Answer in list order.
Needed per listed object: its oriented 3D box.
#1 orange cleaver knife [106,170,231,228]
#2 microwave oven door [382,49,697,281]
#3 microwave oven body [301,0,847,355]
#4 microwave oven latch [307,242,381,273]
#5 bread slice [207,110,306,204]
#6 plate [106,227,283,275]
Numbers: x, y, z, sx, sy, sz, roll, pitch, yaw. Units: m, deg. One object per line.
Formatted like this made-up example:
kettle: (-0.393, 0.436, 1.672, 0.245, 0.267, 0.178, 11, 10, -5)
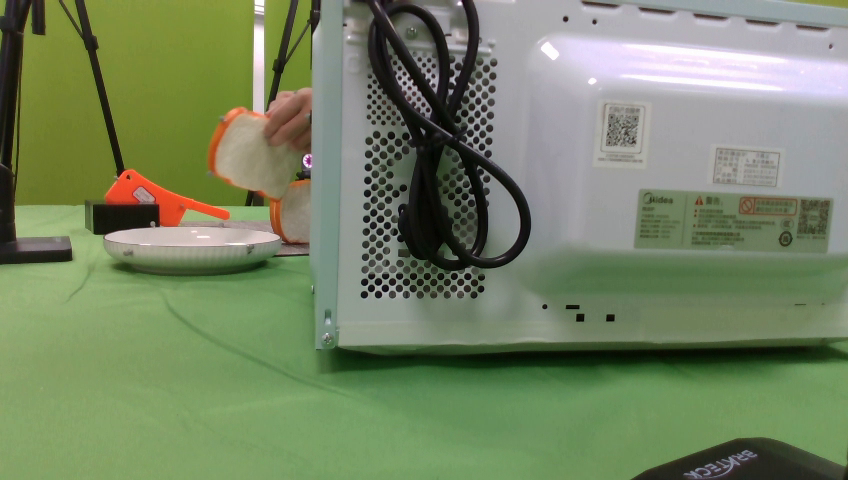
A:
orange cleaver knife: (-0.458, -0.060, 1.097, 0.212, 0.077, 0.012, 23, -4, -38)
microwave oven door: (0.135, -0.077, 0.685, 0.357, 0.243, 0.039, 1, 8, -12)
microwave oven body: (0.120, -0.053, 0.535, 0.443, 0.260, 0.325, 2, 7, -11)
microwave oven latch: (-0.086, 0.019, 0.656, 0.079, 0.029, 0.030, 2, 7, -10)
bread slice: (-0.222, -0.114, 0.807, 0.018, 0.107, 0.135, 27, 1, 35)
plate: (-0.288, 0.013, 0.772, 0.208, 0.039, 0.207, 2, 7, 0)
